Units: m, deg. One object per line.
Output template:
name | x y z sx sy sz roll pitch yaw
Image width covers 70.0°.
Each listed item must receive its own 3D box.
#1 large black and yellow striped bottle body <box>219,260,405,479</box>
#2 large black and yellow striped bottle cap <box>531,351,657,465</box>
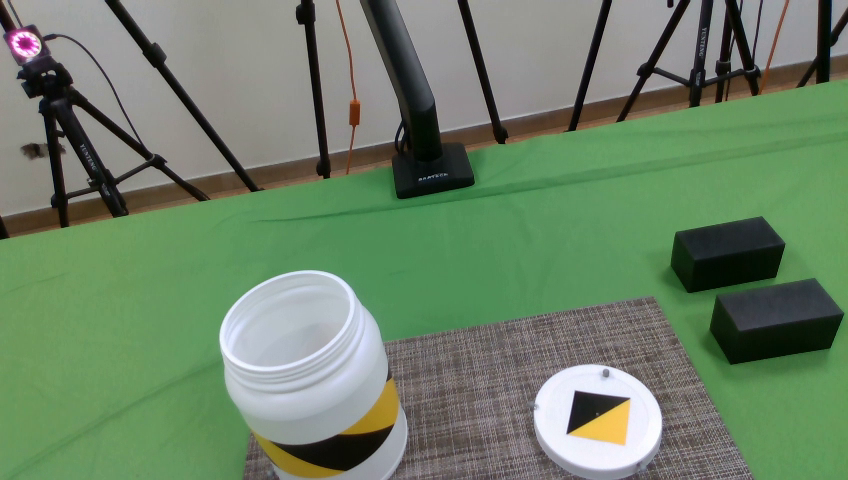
large black and yellow striped bottle body | -0.094 0.120 0.534 0.130 0.186 0.129 -6 41 6
large black and yellow striped bottle cap | 0.158 0.154 0.568 0.115 0.019 0.114 -6 41 6
